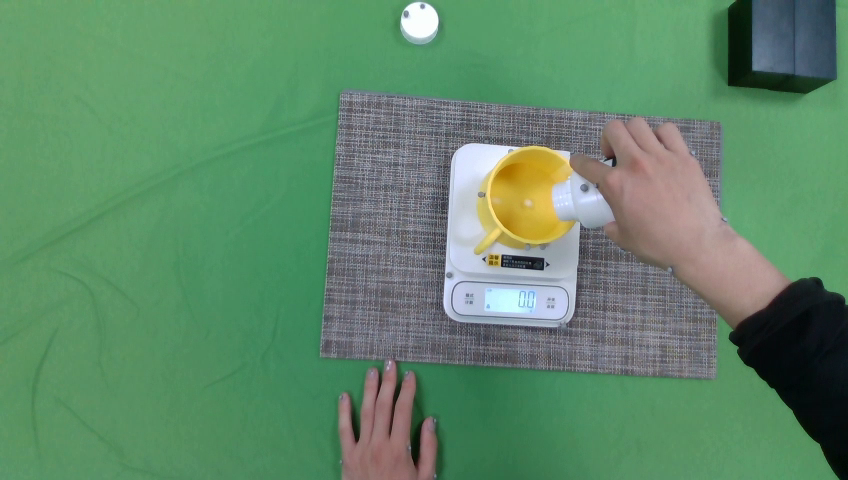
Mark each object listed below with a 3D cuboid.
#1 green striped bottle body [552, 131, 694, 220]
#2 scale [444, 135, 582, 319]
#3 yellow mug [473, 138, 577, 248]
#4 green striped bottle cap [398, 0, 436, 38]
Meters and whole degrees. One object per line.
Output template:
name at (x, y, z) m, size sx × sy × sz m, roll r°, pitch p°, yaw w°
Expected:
green striped bottle body at (0.182, -0.056, 0.563) m, size 0.119 × 0.063 × 0.063 m, roll -13°, pitch 85°, yaw 28°
scale at (0.100, -0.014, 0.677) m, size 0.149 × 0.031 × 0.200 m, roll 3°, pitch 86°, yaw -3°
yellow mug at (0.097, -0.039, 0.631) m, size 0.100 × 0.064 × 0.131 m, roll 44°, pitch 85°, yaw 0°
green striped bottle cap at (-0.008, -0.258, 0.701) m, size 0.044 × 0.020 × 0.044 m, roll 0°, pitch 88°, yaw -3°
